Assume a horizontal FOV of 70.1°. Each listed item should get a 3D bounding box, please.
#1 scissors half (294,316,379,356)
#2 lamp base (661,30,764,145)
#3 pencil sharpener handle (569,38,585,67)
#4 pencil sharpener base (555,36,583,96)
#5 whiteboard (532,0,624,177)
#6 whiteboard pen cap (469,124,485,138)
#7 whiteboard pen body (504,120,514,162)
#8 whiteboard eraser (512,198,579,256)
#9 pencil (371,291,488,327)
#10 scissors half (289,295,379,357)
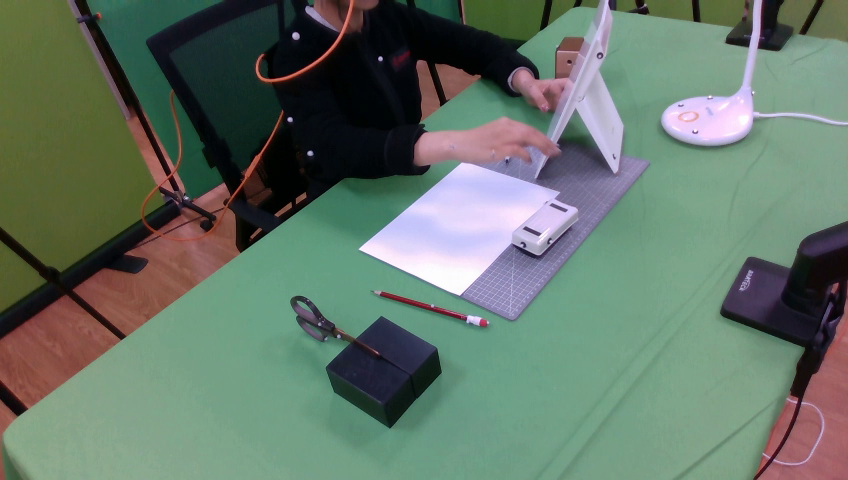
[{"bbox_3d":[-0.119,0.132,0.813,0.174,0.040,0.013,9,32,44],"label":"scissors half"},{"bbox_3d":[0.535,-0.287,1.096,0.179,0.181,0.159,-10,40,-4],"label":"lamp base"},{"bbox_3d":[0.333,-0.413,1.318,0.036,0.068,0.030,19,46,13],"label":"pencil sharpener handle"},{"bbox_3d":[0.318,-0.371,1.290,0.061,0.107,0.076,10,44,22],"label":"pencil sharpener base"},{"bbox_3d":[0.320,-0.258,1.050,0.144,0.306,0.217,21,45,4],"label":"whiteboard"},{"bbox_3d":[0.107,-0.220,1.224,0.033,0.018,0.018,-37,48,-24],"label":"whiteboard pen cap"},{"bbox_3d":[0.165,-0.192,1.177,0.017,0.017,0.140,0,42,10],"label":"whiteboard pen body"},{"bbox_3d":[0.191,-0.019,0.949,0.055,0.042,0.113,26,51,35],"label":"whiteboard eraser"},{"bbox_3d":[0.003,0.097,0.877,0.193,0.012,0.012,13,45,26],"label":"pencil"},{"bbox_3d":[-0.122,0.114,0.803,0.174,0.040,0.013,26,48,32],"label":"scissors half"}]
